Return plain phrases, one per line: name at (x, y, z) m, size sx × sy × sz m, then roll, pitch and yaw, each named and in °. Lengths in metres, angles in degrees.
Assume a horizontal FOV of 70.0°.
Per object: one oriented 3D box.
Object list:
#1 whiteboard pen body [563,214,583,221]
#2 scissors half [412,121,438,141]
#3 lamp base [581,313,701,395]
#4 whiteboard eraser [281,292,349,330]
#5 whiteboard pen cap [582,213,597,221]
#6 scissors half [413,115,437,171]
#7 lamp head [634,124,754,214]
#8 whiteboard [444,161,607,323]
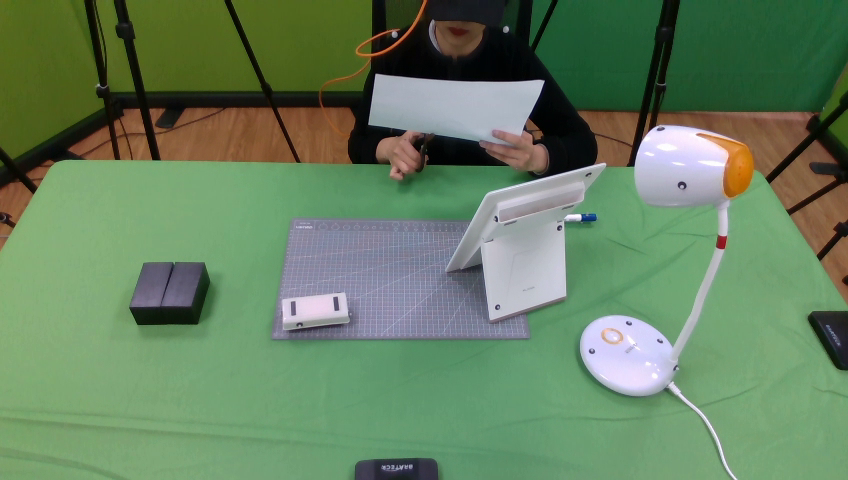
whiteboard pen body at (0.283, -0.047, 1.257) m, size 0.141 × 0.017 × 0.017 m, roll -1°, pitch 46°, yaw -2°
scissors half at (0.003, -0.223, 1.254) m, size 0.013 × 0.040 × 0.174 m, roll 1°, pitch 13°, yaw -17°
lamp base at (0.361, 0.144, 0.973) m, size 0.178 × 0.181 × 0.160 m, roll 34°, pitch 53°, yaw 23°
whiteboard eraser at (-0.189, 0.124, 1.045) m, size 0.113 × 0.042 × 0.055 m, roll -6°, pitch 46°, yaw -10°
whiteboard pen cap at (0.342, -0.048, 1.260) m, size 0.033 × 0.018 × 0.018 m, roll -3°, pitch 46°, yaw -3°
scissors half at (0.004, -0.197, 1.250) m, size 0.013 × 0.176 × 0.040 m, roll -3°, pitch 60°, yaw -18°
lamp head at (0.351, -0.089, 0.775) m, size 0.112 × 0.113 × 0.122 m, roll -30°, pitch 30°, yaw -28°
whiteboard at (0.186, 0.025, 1.029) m, size 0.217 × 0.306 × 0.143 m, roll -14°, pitch 68°, yaw -18°
